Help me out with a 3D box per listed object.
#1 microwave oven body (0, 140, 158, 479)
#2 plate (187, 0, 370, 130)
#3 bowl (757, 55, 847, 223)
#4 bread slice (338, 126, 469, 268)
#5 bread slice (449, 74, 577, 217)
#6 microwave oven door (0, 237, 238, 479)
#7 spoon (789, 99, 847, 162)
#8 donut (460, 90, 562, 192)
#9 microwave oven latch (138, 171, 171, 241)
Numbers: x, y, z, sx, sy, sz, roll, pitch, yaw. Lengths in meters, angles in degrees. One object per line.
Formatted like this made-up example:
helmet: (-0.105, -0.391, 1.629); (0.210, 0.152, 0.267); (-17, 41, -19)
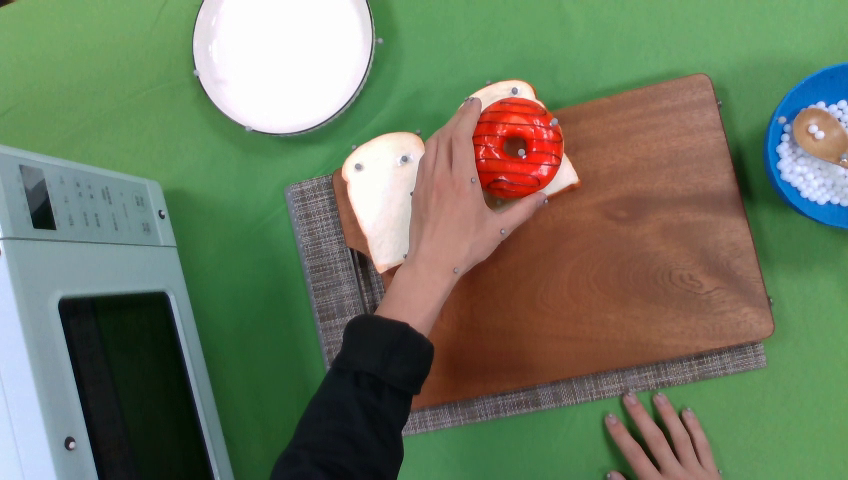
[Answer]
microwave oven body: (-0.418, 0.172, 0.591); (0.326, 0.260, 0.441); (-16, 87, 7)
plate: (-0.159, -0.224, 0.674); (0.207, 0.039, 0.207); (0, 90, 8)
bowl: (0.385, -0.089, 0.572); (0.151, 0.077, 0.151); (0, 89, 8)
bread slice: (-0.030, -0.050, 0.632); (0.107, 0.018, 0.134); (-28, 84, 7)
bread slice: (0.082, -0.101, 0.618); (0.105, 0.019, 0.131); (-23, 86, 6)
microwave oven door: (-0.267, 0.173, 0.564); (0.039, 0.244, 0.355); (-16, 87, 8)
spoon: (0.404, -0.054, 0.537); (0.041, 0.022, 0.192); (-40, 66, 10)
donut: (0.084, -0.095, 0.588); (0.099, 0.048, 0.099); (0, 90, 8)
microwave oven latch: (-0.308, -0.036, 0.675); (0.030, 0.029, 0.079); (-15, 88, 7)
